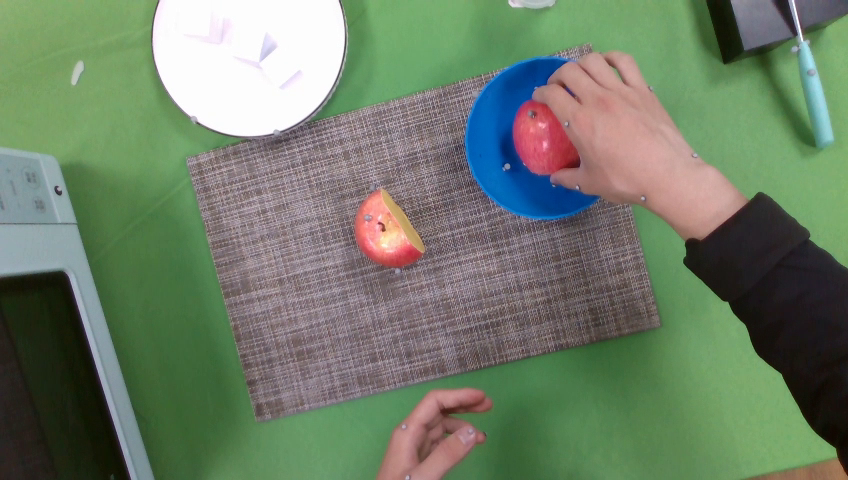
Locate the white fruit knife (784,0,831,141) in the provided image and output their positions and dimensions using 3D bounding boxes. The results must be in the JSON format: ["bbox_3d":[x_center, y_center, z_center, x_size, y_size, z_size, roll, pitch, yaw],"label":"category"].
[{"bbox_3d":[0.353,-0.186,0.571,0.016,0.027,0.208,-19,109,23],"label":"white fruit knife"}]

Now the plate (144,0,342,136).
[{"bbox_3d":[-0.187,-0.212,0.640,0.207,0.039,0.207,0,93,4],"label":"plate"}]

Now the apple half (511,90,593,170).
[{"bbox_3d":[0.120,-0.103,0.564,0.081,0.033,0.081,1,96,9],"label":"apple half"}]

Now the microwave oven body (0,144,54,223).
[{"bbox_3d":[-0.508,0.158,0.571,0.326,0.260,0.441,-16,92,5],"label":"microwave oven body"}]

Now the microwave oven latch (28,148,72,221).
[{"bbox_3d":[-0.407,-0.057,0.648,0.030,0.029,0.079,-16,92,5],"label":"microwave oven latch"}]

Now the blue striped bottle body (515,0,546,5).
[{"bbox_3d":[0.106,-0.273,0.569,0.063,0.121,0.063,0,92,5],"label":"blue striped bottle body"}]

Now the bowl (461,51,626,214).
[{"bbox_3d":[0.113,-0.100,0.596,0.151,0.077,0.151,0,93,5],"label":"bowl"}]

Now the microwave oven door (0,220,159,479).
[{"bbox_3d":[-0.356,0.157,0.553,0.039,0.244,0.355,-17,91,6],"label":"microwave oven door"}]

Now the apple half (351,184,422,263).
[{"bbox_3d":[-0.044,-0.010,0.617,0.053,0.074,0.081,-34,93,9],"label":"apple half"}]
